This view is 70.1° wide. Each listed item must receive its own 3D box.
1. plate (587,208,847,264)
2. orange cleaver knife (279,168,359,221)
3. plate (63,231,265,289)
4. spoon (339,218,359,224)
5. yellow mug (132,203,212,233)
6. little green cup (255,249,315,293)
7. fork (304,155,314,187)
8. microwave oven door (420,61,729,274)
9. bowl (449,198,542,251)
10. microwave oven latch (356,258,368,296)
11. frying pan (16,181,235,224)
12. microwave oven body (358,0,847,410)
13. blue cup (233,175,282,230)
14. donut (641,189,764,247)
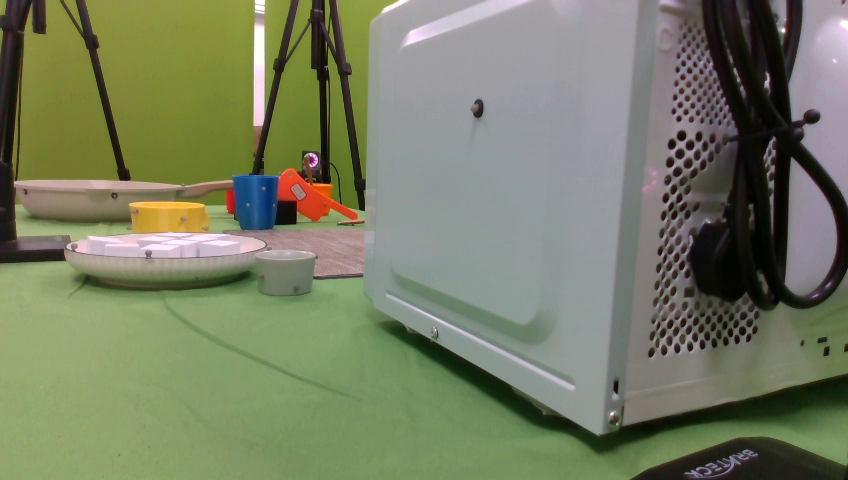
[{"bbox_3d":[0.244,-0.006,0.509,0.209,0.038,0.209,2,4,0],"label":"plate"},{"bbox_3d":[-0.236,-0.084,1.333,0.212,0.077,0.012,31,-9,-31],"label":"orange cleaver knife"},{"bbox_3d":[-0.288,0.021,0.687,0.208,0.039,0.207,2,8,0],"label":"plate"},{"bbox_3d":[-0.087,-0.041,1.268,0.193,0.021,0.041,3,18,14],"label":"spoon"},{"bbox_3d":[-0.356,-0.020,0.878,0.099,0.064,0.131,5,7,22],"label":"yellow mug"},{"bbox_3d":[-0.144,0.031,0.627,0.061,0.038,0.061,2,6,0],"label":"little green cup"},{"bbox_3d":[-0.268,-0.134,1.447,0.028,0.018,0.207,2,-36,-1],"label":"fork"},{"bbox_3d":[0.170,-0.093,0.747,0.355,0.243,0.039,4,8,17],"label":"microwave oven door"},{"bbox_3d":[0.115,-0.025,0.988,0.151,0.077,0.151,2,8,0],"label":"bowl"},{"bbox_3d":[-0.019,0.031,0.528,0.079,0.029,0.030,-1,7,-24],"label":"microwave oven latch"},{"bbox_3d":[-0.554,-0.097,1.266,0.490,0.102,0.305,-10,13,-24],"label":"frying pan"},{"bbox_3d":[0.210,-0.051,0.472,0.444,0.260,0.324,-1,7,-28],"label":"microwave oven body"},{"bbox_3d":[-0.314,-0.071,1.141,0.093,0.100,0.092,0,7,0],"label":"blue cup"},{"bbox_3d":[0.237,-0.018,0.520,0.099,0.048,0.099,5,6,0],"label":"donut"}]
